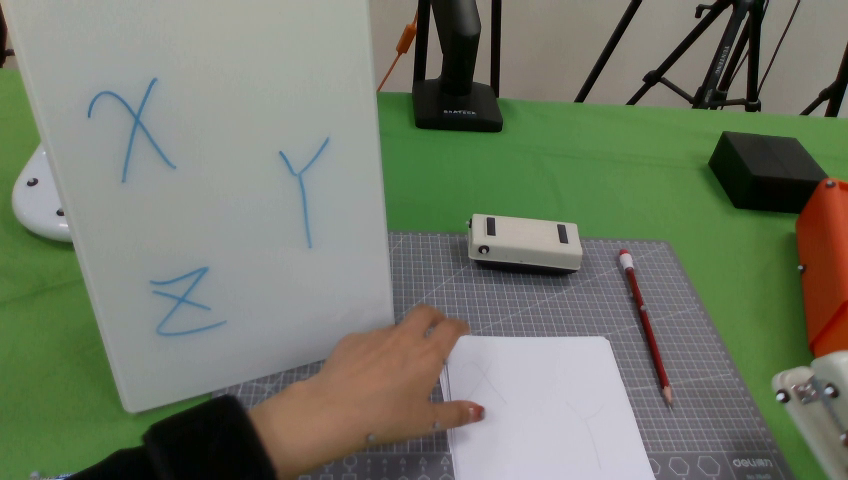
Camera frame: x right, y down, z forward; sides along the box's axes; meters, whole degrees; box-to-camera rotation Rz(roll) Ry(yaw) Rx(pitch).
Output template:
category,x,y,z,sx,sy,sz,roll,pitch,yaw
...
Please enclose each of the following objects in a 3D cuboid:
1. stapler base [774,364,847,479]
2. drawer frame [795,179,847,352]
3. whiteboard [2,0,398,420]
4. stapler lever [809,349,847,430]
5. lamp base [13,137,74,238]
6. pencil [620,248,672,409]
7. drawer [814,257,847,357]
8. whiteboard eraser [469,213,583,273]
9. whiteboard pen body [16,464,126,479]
category,x,y,z,sx,sy,sz,roll,pitch,yaw
stapler base,0.306,0.144,0.431,0.041,0.024,0.129,-12,54,-12
drawer frame,0.491,0.047,0.598,0.201,0.083,0.212,18,41,12
whiteboard,-0.155,-0.052,0.485,0.218,0.307,0.142,-12,25,-20
stapler lever,0.309,0.129,0.410,0.027,0.040,0.117,-12,55,-12
lamp base,-0.337,-0.119,0.585,0.178,0.182,0.160,29,45,27
pencil,0.209,0.076,0.575,0.012,0.012,0.192,5,42,-2
drawer,0.468,0.088,0.549,0.194,0.074,0.210,17,41,13
whiteboard eraser,0.102,0.004,0.615,0.113,0.042,0.055,6,42,-1
whiteboard pen body,-0.272,0.165,0.395,0.141,0.017,0.017,-5,42,-14
